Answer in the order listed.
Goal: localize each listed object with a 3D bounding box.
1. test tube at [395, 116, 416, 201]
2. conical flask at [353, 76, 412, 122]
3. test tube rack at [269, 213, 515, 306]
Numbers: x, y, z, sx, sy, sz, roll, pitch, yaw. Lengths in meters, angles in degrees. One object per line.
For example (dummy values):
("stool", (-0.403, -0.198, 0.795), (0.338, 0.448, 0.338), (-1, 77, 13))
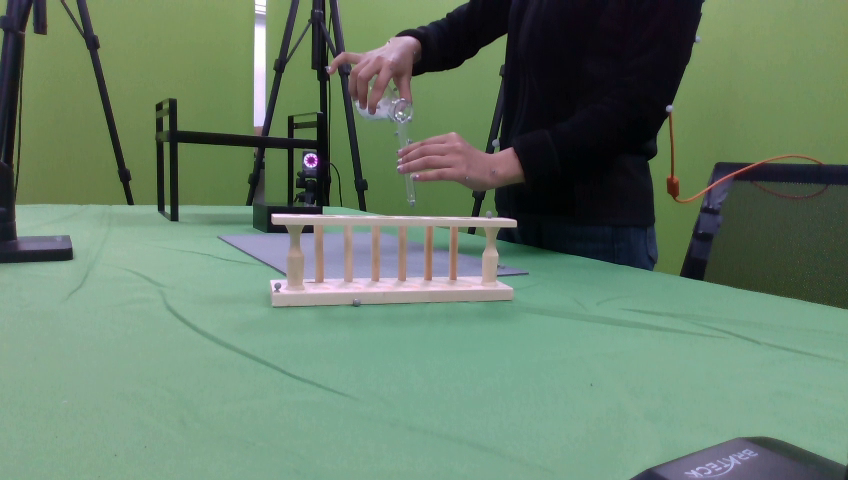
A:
("test tube", (-0.028, -0.125, 0.923), (0.017, 0.150, 0.017), (-7, -25, -3))
("conical flask", (-0.064, -0.226, 1.001), (0.076, 0.075, 0.121), (-2, 22, -30))
("test tube rack", (-0.032, 0.015, 0.617), (0.243, 0.085, 0.066), (0, 7, -17))
